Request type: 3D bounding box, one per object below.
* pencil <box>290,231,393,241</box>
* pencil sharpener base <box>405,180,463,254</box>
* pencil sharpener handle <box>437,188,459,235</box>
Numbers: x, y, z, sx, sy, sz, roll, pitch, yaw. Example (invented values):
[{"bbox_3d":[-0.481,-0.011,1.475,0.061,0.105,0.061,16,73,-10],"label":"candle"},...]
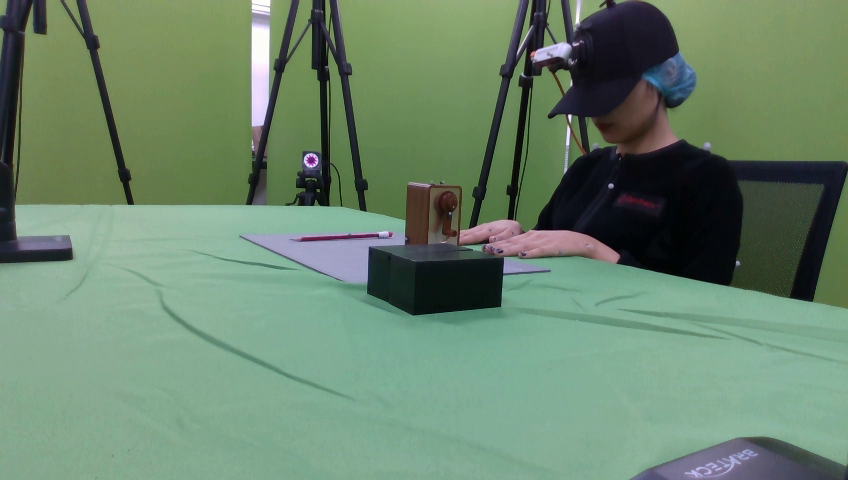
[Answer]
[{"bbox_3d":[-0.136,-0.006,1.029,0.195,0.012,0.012,-4,9,-35],"label":"pencil"},{"bbox_3d":[0.016,-0.035,0.922,0.061,0.107,0.076,-2,9,-30],"label":"pencil sharpener base"},{"bbox_3d":[0.041,-0.041,0.877,0.036,0.067,0.030,1,7,-30],"label":"pencil sharpener handle"}]
